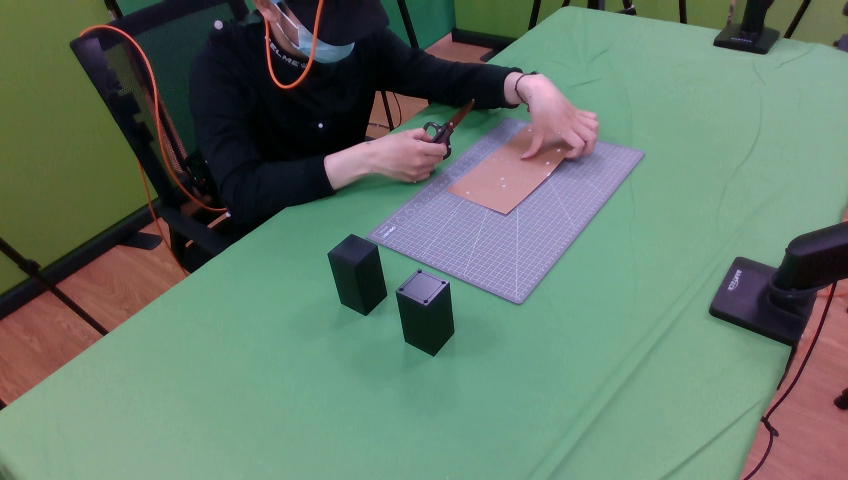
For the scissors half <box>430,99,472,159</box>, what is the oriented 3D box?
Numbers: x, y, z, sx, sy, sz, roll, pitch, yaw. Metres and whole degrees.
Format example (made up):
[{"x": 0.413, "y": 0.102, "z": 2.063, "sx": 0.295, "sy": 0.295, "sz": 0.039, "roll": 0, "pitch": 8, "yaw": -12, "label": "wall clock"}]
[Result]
[{"x": 0.050, "y": -0.194, "z": 1.065, "sx": 0.013, "sy": 0.175, "sz": 0.040, "roll": -29, "pitch": 76, "yaw": -30, "label": "scissors half"}]

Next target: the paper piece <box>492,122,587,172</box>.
[{"x": 0.216, "y": -0.180, "z": 1.148, "sx": 0.135, "sy": 0.009, "sz": 0.138, "roll": 23, "pitch": 54, "yaw": 36, "label": "paper piece"}]

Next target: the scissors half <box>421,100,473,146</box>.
[{"x": 0.039, "y": -0.210, "z": 1.067, "sx": 0.013, "sy": 0.040, "sz": 0.174, "roll": -35, "pitch": 6, "yaw": -31, "label": "scissors half"}]

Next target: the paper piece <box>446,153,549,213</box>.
[{"x": 0.132, "y": -0.104, "z": 1.078, "sx": 0.134, "sy": 0.004, "sz": 0.136, "roll": 26, "pitch": 51, "yaw": 33, "label": "paper piece"}]
